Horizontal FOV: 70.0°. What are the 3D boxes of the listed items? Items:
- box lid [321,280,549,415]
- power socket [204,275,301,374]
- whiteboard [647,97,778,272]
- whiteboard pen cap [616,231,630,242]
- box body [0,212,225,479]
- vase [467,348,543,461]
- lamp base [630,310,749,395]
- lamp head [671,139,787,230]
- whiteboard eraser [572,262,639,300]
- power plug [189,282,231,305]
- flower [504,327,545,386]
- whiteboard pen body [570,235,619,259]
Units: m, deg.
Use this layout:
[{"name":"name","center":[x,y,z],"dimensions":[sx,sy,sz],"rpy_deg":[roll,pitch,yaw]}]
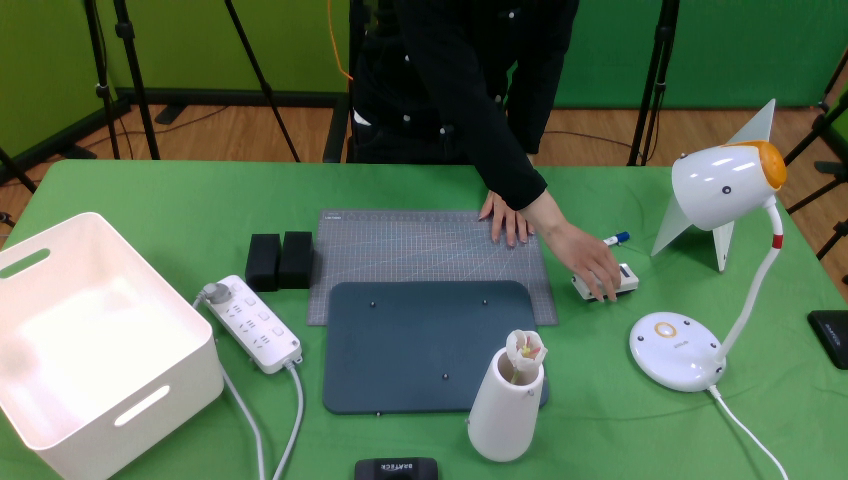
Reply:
[{"name":"box lid","center":[0.013,0.174,1.040],"dimensions":[0.372,0.015,0.261],"rpy_deg":[0,47,-4]},{"name":"power socket","center":[-0.296,0.140,1.035],"dimensions":[0.072,0.033,0.225],"rpy_deg":[-33,57,-29]},{"name":"whiteboard","center":[0.602,-0.079,1.162],"dimensions":[0.144,0.306,0.216],"rpy_deg":[35,51,2]},{"name":"whiteboard pen cap","center":[0.403,-0.007,1.235],"dimensions":[0.033,0.018,0.018],"rpy_deg":[-18,50,-25]},{"name":"box body","center":[-0.506,0.155,0.915],"dimensions":[0.362,0.161,0.254],"rpy_deg":[35,54,26]},{"name":"vase","center":[0.116,0.234,0.860],"dimensions":[0.098,0.201,0.097],"rpy_deg":[1,47,-1]},{"name":"lamp base","center":[0.447,0.143,0.984],"dimensions":[0.161,0.181,0.178],"rpy_deg":[-24,55,-24]},{"name":"lamp head","center":[0.415,-0.078,0.812],"dimensions":[0.113,0.123,0.112],"rpy_deg":[12,70,-37]},{"name":"whiteboard eraser","center":[0.339,0.078,1.132],"dimensions":[0.113,0.042,0.055],"rpy_deg":[-10,47,-14]},{"name":"power plug","center":[-0.368,0.097,1.039],"dimensions":[0.072,0.053,0.035],"rpy_deg":[-27,54,-21]},{"name":"flower","center":[0.114,0.189,0.790],"dimensions":[0.044,0.363,0.038],"rpy_deg":[33,69,19]},{"name":"whiteboard pen body","center":[0.351,0.010,1.214],"dimensions":[0.141,0.017,0.017],"rpy_deg":[-20,51,-22]}]
